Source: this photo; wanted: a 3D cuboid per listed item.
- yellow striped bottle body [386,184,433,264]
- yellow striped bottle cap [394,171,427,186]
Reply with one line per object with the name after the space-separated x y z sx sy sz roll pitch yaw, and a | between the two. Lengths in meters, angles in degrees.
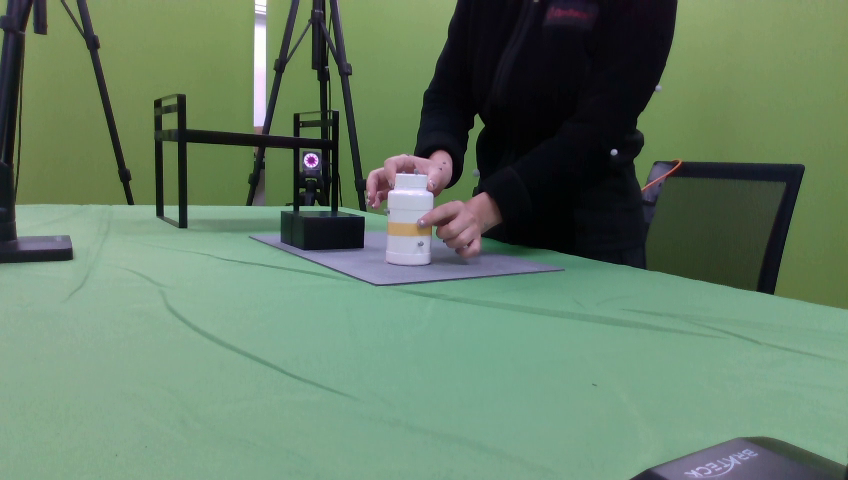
-0.019 -0.031 0.814 0.063 0.120 0.063 1 7 0 | yellow striped bottle body
-0.018 -0.082 0.808 0.044 0.018 0.044 2 8 0 | yellow striped bottle cap
